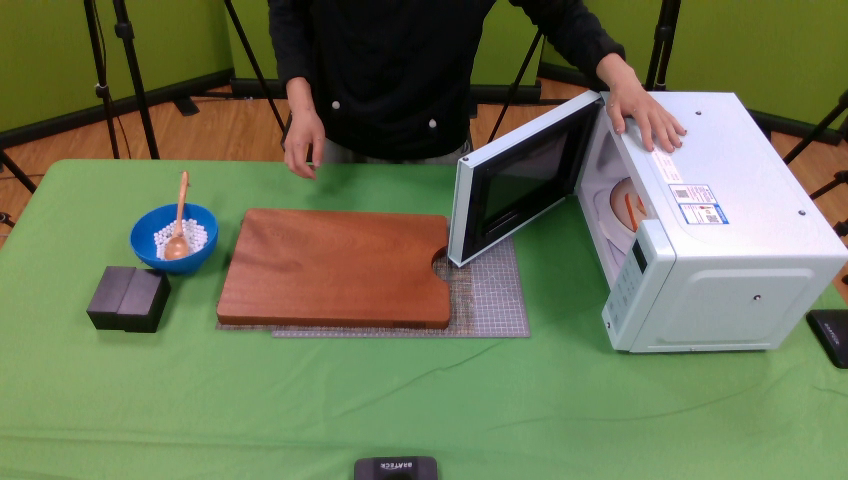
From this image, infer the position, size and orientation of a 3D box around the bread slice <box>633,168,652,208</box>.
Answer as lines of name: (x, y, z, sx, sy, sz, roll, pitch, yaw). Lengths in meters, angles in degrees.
bread slice: (0.462, -0.089, 1.137, 0.134, 0.018, 0.106, 8, 43, -13)

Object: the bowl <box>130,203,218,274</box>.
bowl: (-0.451, 0.009, 1.117, 0.151, 0.077, 0.150, 3, 45, -2)

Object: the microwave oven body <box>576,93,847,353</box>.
microwave oven body: (0.475, -0.041, 1.109, 0.326, 0.261, 0.438, -1, 45, -4)

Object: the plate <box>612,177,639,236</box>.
plate: (0.472, -0.051, 1.187, 0.208, 0.039, 0.206, -1, 45, 1)

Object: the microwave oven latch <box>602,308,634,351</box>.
microwave oven latch: (0.332, 0.153, 1.043, 0.030, 0.029, 0.078, -1, 45, -4)

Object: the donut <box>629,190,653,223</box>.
donut: (0.443, -0.059, 1.163, 0.099, 0.048, 0.098, 1, 49, -1)

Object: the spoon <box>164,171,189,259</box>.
spoon: (-0.452, -0.046, 1.129, 0.041, 0.022, 0.193, -1, 69, -3)

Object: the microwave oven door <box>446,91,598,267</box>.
microwave oven door: (0.191, -0.120, 1.157, 0.356, 0.245, 0.039, -31, 55, -30)

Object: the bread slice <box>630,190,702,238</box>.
bread slice: (0.477, -0.051, 1.190, 0.131, 0.019, 0.104, 16, 46, 12)
